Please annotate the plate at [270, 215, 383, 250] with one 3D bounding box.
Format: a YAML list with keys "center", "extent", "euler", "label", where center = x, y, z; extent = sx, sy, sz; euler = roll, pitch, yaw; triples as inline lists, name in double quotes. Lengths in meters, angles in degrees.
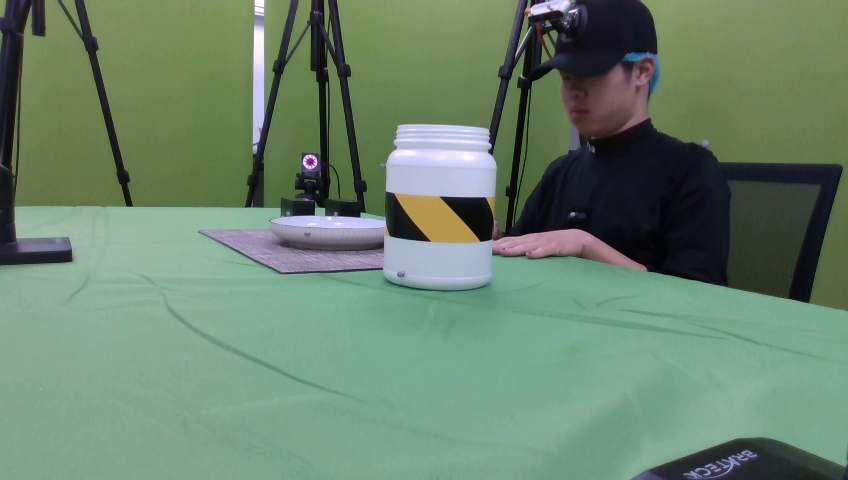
- center: [-0.145, -0.013, 0.991]
  extent: [0.208, 0.039, 0.207]
  euler: [2, 7, 0]
  label: "plate"

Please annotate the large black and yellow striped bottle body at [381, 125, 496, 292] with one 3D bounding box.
- center: [0.017, -0.040, 0.715]
  extent: [0.131, 0.184, 0.130]
  euler: [3, 7, 0]
  label: "large black and yellow striped bottle body"

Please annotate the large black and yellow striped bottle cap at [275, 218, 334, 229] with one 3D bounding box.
- center: [-0.236, -0.033, 1.197]
  extent: [0.115, 0.019, 0.115]
  euler: [2, 3, 0]
  label: "large black and yellow striped bottle cap"
